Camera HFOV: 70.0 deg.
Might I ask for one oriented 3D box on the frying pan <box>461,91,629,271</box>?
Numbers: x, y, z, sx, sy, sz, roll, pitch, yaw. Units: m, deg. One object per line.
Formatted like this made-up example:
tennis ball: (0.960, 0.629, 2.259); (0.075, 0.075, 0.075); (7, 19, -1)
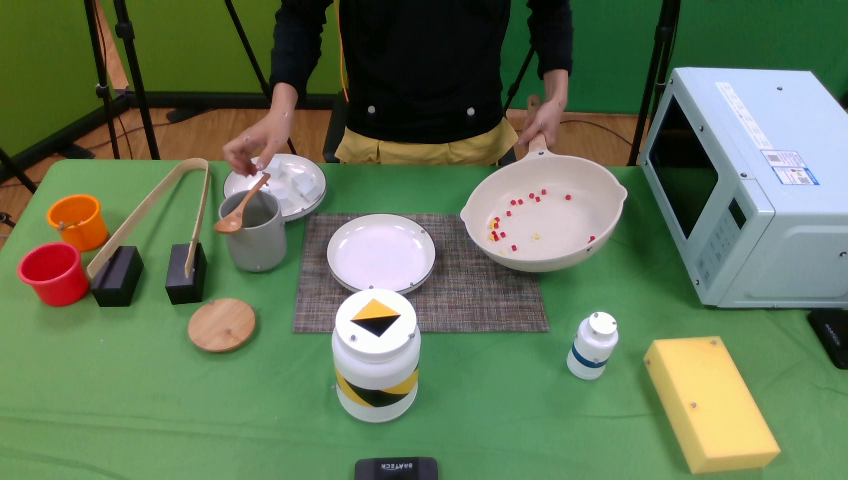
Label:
frying pan: (0.234, -0.133, 1.199); (0.306, 0.103, 0.485); (-5, 52, 15)

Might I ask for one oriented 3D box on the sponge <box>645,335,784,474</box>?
sponge: (0.449, 0.253, 0.956); (0.118, 0.061, 0.205); (-4, 46, -7)

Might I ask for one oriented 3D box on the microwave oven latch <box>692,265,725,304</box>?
microwave oven latch: (0.522, 0.081, 1.116); (0.030, 0.029, 0.078); (1, 46, -2)

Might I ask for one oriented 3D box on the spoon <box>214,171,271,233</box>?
spoon: (-0.312, -0.070, 1.070); (0.041, 0.022, 0.193); (10, 43, 10)

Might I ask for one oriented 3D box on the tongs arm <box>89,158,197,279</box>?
tongs arm: (-0.530, -0.056, 1.164); (0.028, 0.028, 0.385); (0, 36, 8)

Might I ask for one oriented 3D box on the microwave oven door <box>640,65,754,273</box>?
microwave oven door: (0.523, -0.147, 1.193); (0.039, 0.245, 0.353); (0, 47, -3)

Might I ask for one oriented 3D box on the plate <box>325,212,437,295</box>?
plate: (-0.081, 0.030, 1.143); (0.209, 0.038, 0.208); (2, 46, -2)

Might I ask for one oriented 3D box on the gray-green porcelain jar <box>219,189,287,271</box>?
gray-green porcelain jar: (-0.310, -0.014, 1.113); (0.106, 0.127, 0.105); (2, 46, -2)

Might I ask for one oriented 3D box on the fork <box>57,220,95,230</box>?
fork: (-0.624, -0.027, 1.086); (0.028, 0.207, 0.018); (-3, 92, -17)

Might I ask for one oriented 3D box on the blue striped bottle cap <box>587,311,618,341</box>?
blue striped bottle cap: (0.279, 0.134, 0.947); (0.044, 0.021, 0.044); (2, 45, -2)

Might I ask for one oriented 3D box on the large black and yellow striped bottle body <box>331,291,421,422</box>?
large black and yellow striped bottle body: (-0.071, 0.175, 0.911); (0.131, 0.185, 0.130); (2, 47, -2)

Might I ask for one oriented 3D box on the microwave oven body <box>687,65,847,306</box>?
microwave oven body: (0.669, -0.111, 1.176); (0.326, 0.261, 0.439); (0, 46, -3)

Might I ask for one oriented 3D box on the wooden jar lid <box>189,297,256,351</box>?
wooden jar lid: (-0.342, 0.145, 1.033); (0.108, 0.021, 0.107); (3, 45, -2)

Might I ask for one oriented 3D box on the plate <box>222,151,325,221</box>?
plate: (-0.310, -0.106, 1.263); (0.208, 0.039, 0.206); (2, 46, -2)

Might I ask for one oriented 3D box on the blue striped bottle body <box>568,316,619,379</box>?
blue striped bottle body: (0.276, 0.168, 0.984); (0.063, 0.121, 0.062); (2, 46, -2)

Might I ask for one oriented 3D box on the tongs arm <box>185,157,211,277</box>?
tongs arm: (-0.445, -0.057, 1.168); (0.051, 0.026, 0.382); (-5, 37, -6)

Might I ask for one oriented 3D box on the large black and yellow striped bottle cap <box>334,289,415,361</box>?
large black and yellow striped bottle cap: (-0.069, 0.117, 0.850); (0.115, 0.019, 0.114); (2, 45, -2)
